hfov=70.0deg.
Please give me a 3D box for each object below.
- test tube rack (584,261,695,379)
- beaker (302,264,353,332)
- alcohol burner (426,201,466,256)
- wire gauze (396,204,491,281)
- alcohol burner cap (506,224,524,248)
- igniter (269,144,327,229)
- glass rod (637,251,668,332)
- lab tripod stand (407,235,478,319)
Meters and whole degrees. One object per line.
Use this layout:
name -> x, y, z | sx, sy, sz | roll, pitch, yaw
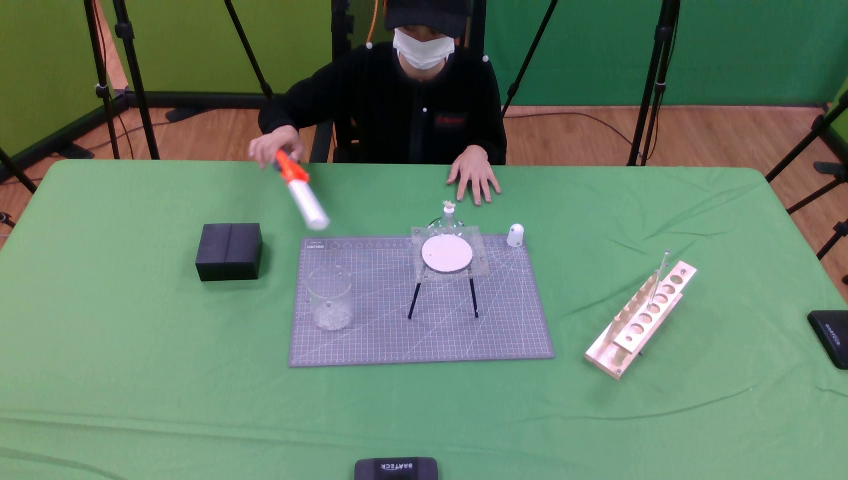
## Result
test tube rack -> 0.380, 0.127, 1.062 | 0.066, 0.085, 0.242 | 34, 53, 26
beaker -> -0.162, 0.101, 1.030 | 0.084, 0.101, 0.073 | 4, 46, 0
alcohol burner -> 0.043, -0.026, 1.161 | 0.078, 0.120, 0.077 | 1, 46, -1
wire gauze -> 0.032, 0.004, 0.999 | 0.125, 0.011, 0.120 | -22, 54, -14
alcohol burner cap -> 0.183, -0.010, 1.206 | 0.034, 0.048, 0.033 | 1, 46, -1
igniter -> -0.232, -0.103, 1.088 | 0.057, 0.025, 0.274 | 11, 28, -36
glass rod -> 0.378, 0.090, 1.005 | 0.008, 0.201, 0.008 | -1, 44, 1
lab tripod stand -> 0.032, 0.065, 1.057 | 0.148, 0.132, 0.147 | 1, 45, -1
